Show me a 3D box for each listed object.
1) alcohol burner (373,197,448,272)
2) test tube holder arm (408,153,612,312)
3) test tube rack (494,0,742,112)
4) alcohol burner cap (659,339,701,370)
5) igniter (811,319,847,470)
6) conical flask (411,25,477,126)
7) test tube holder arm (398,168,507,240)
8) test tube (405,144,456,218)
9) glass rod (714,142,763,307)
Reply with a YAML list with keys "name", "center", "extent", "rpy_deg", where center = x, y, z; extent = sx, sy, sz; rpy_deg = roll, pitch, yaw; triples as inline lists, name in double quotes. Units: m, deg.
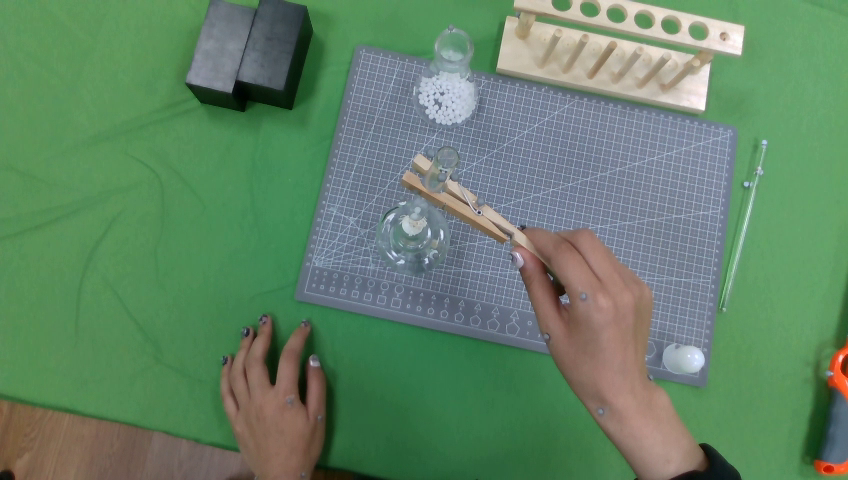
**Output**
- name: "alcohol burner"
  center: [-0.014, -0.009, 0.606]
  extent: [0.078, 0.119, 0.077]
  rpy_deg: [0, 78, -1]
- name: "test tube holder arm"
  center: [0.062, -0.005, 0.436]
  extent: [0.178, 0.015, 0.013]
  rpy_deg: [36, 81, -1]
- name: "test tube rack"
  center: [0.207, -0.211, 0.668]
  extent: [0.242, 0.085, 0.066]
  rpy_deg: [11, 80, -1]
- name: "alcohol burner cap"
  center: [0.271, 0.120, 0.635]
  extent: [0.034, 0.048, 0.033]
  rpy_deg: [1, 79, -2]
- name: "igniter"
  center: [0.468, 0.115, 0.655]
  extent: [0.057, 0.025, 0.275]
  rpy_deg: [22, 80, -9]
- name: "conical flask"
  center: [0.024, -0.174, 0.631]
  extent: [0.075, 0.122, 0.075]
  rpy_deg: [0, 80, -2]
- name: "test tube holder arm"
  center: [0.022, -0.025, 0.434]
  extent: [0.088, 0.015, 0.010]
  rpy_deg: [29, 80, -2]
- name: "test tube"
  center: [0.002, -0.039, 0.448]
  extent: [0.017, 0.150, 0.017]
  rpy_deg: [2, 79, -9]
- name: "glass rod"
  center: [0.354, -0.019, 0.682]
  extent: [0.008, 0.008, 0.199]
  rpy_deg: [19, 83, 0]
